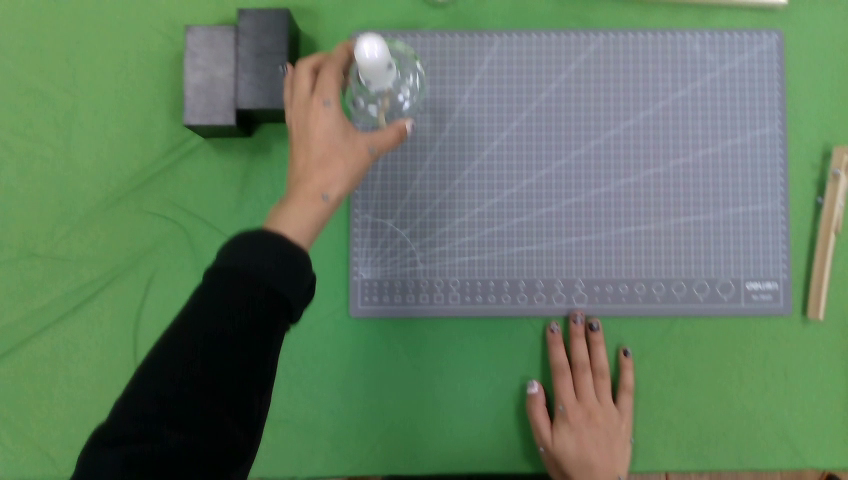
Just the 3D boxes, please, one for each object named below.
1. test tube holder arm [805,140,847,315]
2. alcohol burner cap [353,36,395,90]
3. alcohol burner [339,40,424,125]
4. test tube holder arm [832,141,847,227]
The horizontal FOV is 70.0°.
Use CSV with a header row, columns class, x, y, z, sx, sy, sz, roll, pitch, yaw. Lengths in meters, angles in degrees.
class,x,y,z,sx,sy,sz,roll,pitch,yaw
test tube holder arm,0.407,-0.013,0.614,0.013,0.015,0.178,10,89,-33
alcohol burner cap,-0.042,-0.147,0.496,0.034,0.048,0.033,-1,80,5
alcohol burner,-0.039,-0.144,0.532,0.078,0.119,0.077,0,84,3
test tube holder arm,0.420,-0.057,0.618,0.010,0.015,0.087,12,88,-33
